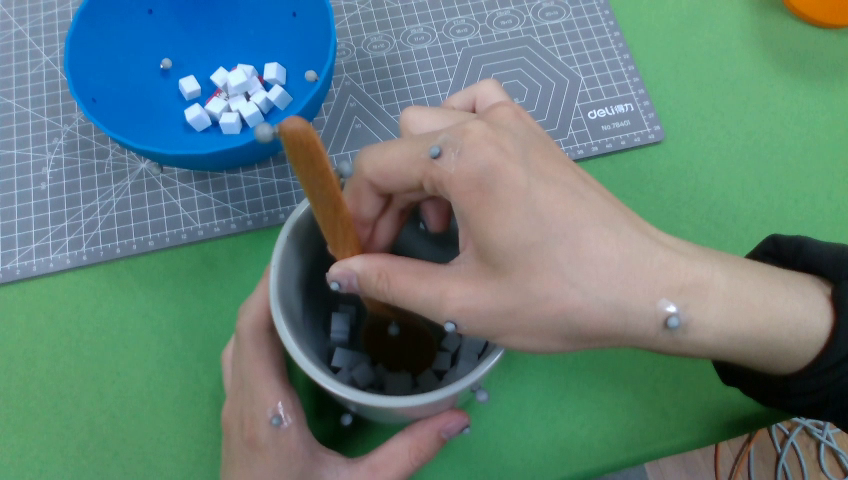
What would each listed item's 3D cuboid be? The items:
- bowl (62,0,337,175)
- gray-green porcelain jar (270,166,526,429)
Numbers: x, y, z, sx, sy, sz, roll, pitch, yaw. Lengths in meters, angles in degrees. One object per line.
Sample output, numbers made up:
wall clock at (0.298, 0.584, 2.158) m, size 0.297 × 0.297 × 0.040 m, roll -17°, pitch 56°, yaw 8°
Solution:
bowl at (-0.124, -0.097, 0.373) m, size 0.151 × 0.077 × 0.150 m, roll 0°, pitch 69°, yaw -1°
gray-green porcelain jar at (-0.011, 0.038, 0.303) m, size 0.106 × 0.127 × 0.105 m, roll 0°, pitch 69°, yaw 0°
